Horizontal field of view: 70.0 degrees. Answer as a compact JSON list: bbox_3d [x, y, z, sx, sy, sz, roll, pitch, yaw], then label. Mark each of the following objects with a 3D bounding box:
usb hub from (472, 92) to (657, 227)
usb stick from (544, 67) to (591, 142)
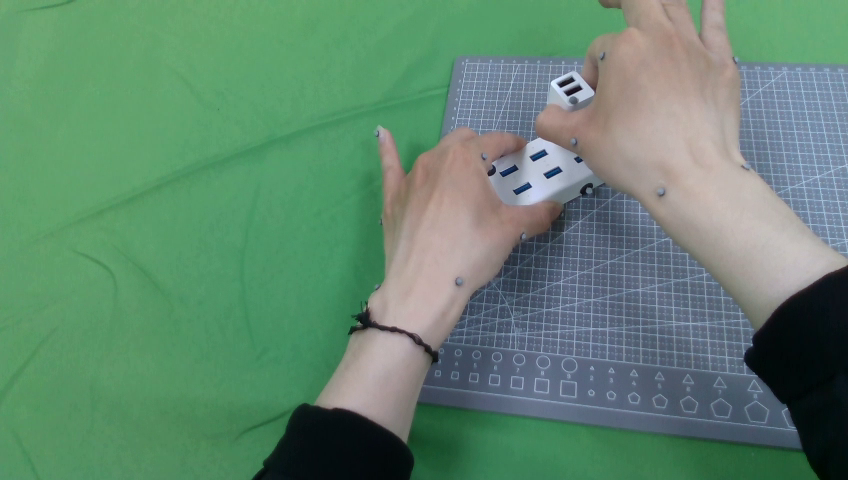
[{"bbox_3d":[0.100,-0.060,0.437,0.125,0.025,0.049,-28,54,-7],"label":"usb hub"},{"bbox_3d":[0.099,-0.089,0.421,0.021,0.060,0.027,-30,60,-7],"label":"usb stick"}]
